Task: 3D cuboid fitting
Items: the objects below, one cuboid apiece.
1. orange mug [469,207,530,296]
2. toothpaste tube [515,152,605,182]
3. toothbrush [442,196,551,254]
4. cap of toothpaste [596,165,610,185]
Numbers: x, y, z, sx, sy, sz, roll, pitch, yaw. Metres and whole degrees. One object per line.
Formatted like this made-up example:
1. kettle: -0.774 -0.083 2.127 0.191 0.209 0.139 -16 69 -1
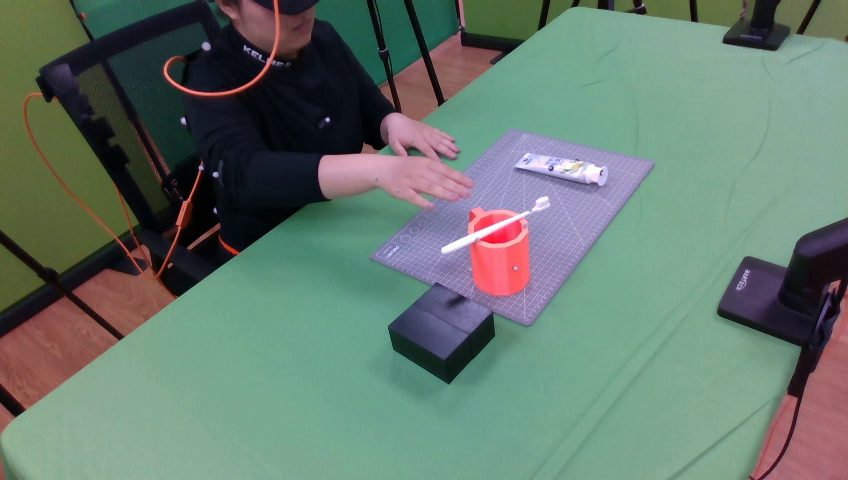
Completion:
1. orange mug: 0.104 0.008 0.894 0.084 0.101 0.125 -22 46 -14
2. toothpaste tube: 0.248 -0.133 1.087 0.164 0.034 0.055 17 42 34
3. toothbrush: 0.104 -0.021 0.846 0.182 0.017 0.014 -25 48 -18
4. cap of toothpaste: 0.307 -0.113 1.041 0.011 0.037 0.037 20 48 39
